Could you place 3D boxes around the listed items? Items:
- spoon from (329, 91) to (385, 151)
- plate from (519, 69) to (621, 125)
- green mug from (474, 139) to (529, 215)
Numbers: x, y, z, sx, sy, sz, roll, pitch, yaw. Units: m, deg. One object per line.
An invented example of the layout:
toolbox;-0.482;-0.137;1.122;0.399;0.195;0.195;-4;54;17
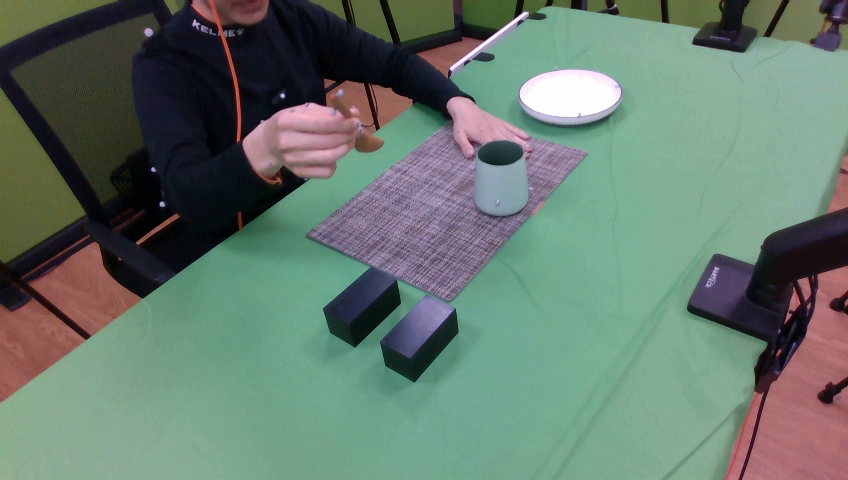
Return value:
spoon;-0.085;-0.142;0.738;0.041;0.194;0.021;-15;77;7
plate;0.300;-0.293;1.253;0.209;0.038;0.208;-4;41;4
green mug;0.126;-0.113;1.013;0.092;0.105;0.124;-8;41;0
